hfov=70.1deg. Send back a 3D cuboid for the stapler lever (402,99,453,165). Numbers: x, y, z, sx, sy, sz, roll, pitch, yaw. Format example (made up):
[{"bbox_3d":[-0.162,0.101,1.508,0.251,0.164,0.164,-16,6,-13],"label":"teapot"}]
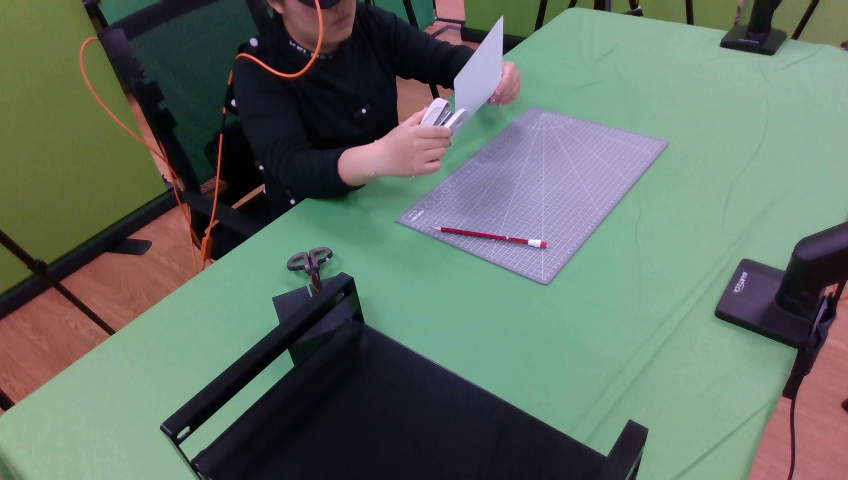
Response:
[{"bbox_3d":[0.001,-0.180,0.997,0.040,0.027,0.118,41,95,16],"label":"stapler lever"}]

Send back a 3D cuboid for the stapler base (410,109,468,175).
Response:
[{"bbox_3d":[0.020,-0.165,0.991,0.024,0.041,0.130,41,95,16],"label":"stapler base"}]

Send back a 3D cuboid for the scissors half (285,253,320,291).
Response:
[{"bbox_3d":[-0.178,0.049,0.909,0.040,0.013,0.174,-16,20,-20],"label":"scissors half"}]

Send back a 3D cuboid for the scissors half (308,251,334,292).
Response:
[{"bbox_3d":[-0.159,0.046,0.913,0.040,0.013,0.174,-5,18,-4],"label":"scissors half"}]

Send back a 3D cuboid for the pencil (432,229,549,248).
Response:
[{"bbox_3d":[0.103,-0.005,0.970,0.193,0.012,0.012,8,42,18],"label":"pencil"}]
